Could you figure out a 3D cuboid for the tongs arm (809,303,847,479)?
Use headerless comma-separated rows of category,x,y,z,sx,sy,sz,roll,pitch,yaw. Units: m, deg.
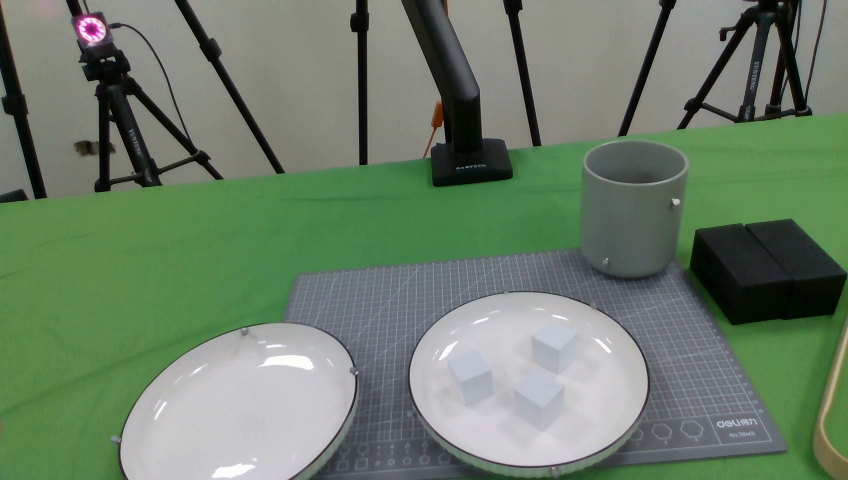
tongs arm,0.415,0.070,0.573,0.028,0.028,0.387,22,44,32

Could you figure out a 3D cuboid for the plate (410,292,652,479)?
plate,0.092,0.125,0.540,0.207,0.039,0.205,-5,34,4

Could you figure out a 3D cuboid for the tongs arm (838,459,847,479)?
tongs arm,0.470,0.095,0.519,0.385,0.027,0.050,-30,40,-27

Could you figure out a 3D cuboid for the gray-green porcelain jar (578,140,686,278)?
gray-green porcelain jar,0.224,-0.030,0.664,0.106,0.127,0.105,-5,34,4

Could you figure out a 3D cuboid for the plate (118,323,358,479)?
plate,-0.159,0.157,0.542,0.209,0.038,0.207,-6,34,5
